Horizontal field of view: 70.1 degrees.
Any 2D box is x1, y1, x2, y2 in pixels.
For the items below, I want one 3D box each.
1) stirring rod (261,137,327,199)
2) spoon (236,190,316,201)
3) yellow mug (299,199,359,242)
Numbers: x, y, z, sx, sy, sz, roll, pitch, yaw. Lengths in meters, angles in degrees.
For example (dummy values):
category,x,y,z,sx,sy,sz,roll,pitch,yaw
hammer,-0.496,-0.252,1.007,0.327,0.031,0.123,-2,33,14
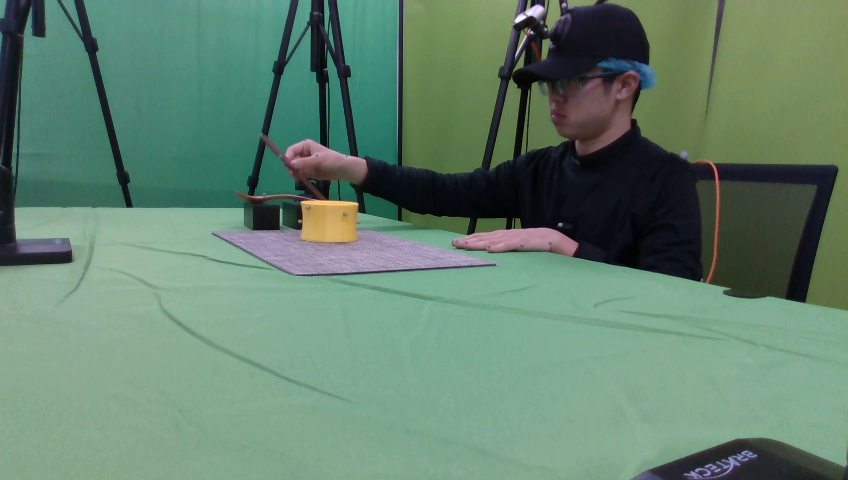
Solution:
category,x,y,z,sx,sy,sz,roll,pitch,yaw
stirring rod,-0.252,-0.135,1.186,0.006,0.176,0.014,-32,24,29
spoon,-0.290,-0.088,1.248,0.195,0.021,0.041,0,6,-32
yellow mug,-0.157,-0.037,1.060,0.099,0.064,0.131,7,8,27
